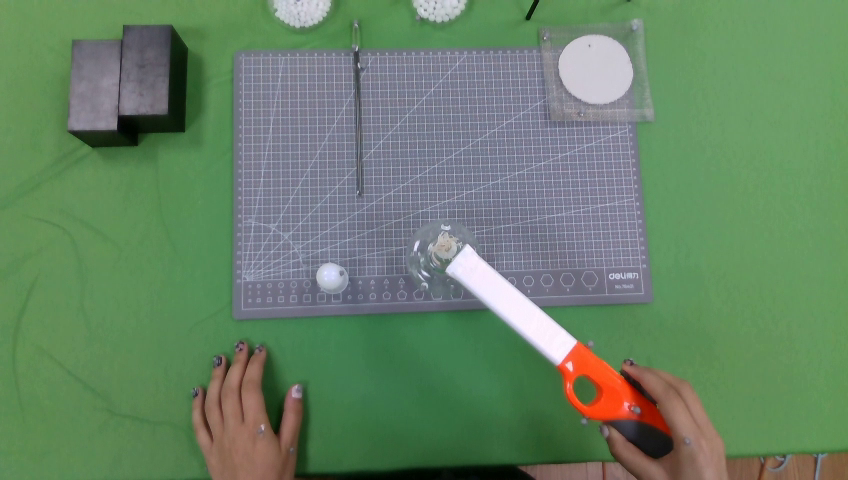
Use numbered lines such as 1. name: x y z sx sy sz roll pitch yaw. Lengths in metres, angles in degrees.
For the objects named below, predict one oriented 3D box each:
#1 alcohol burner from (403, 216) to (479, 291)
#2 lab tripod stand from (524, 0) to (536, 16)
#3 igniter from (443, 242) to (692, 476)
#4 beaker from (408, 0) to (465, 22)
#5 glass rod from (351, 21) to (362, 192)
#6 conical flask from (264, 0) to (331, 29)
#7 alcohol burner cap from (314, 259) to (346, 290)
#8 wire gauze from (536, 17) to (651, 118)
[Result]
1. alcohol burner: 0.018 0.012 0.601 0.078 0.119 0.077 0 82 -2
2. lab tripod stand: 0.174 -0.320 0.655 0.148 0.131 0.148 0 82 -3
3. igniter: 0.129 0.104 0.529 0.276 0.025 0.057 42 81 -1
4. beaker: 0.016 -0.295 0.660 0.074 0.100 0.083 0 80 -3
5. glass rod: -0.076 -0.151 0.674 0.008 0.008 0.199 -2 81 -4
6. conical flask: -0.141 -0.285 0.638 0.075 0.122 0.075 1 80 -3
7. alcohol burner cap: -0.099 0.034 0.627 0.034 0.048 0.033 1 81 -3
8. wire gauze: 0.196 -0.197 0.697 0.125 0.011 0.121 -3 81 -3
